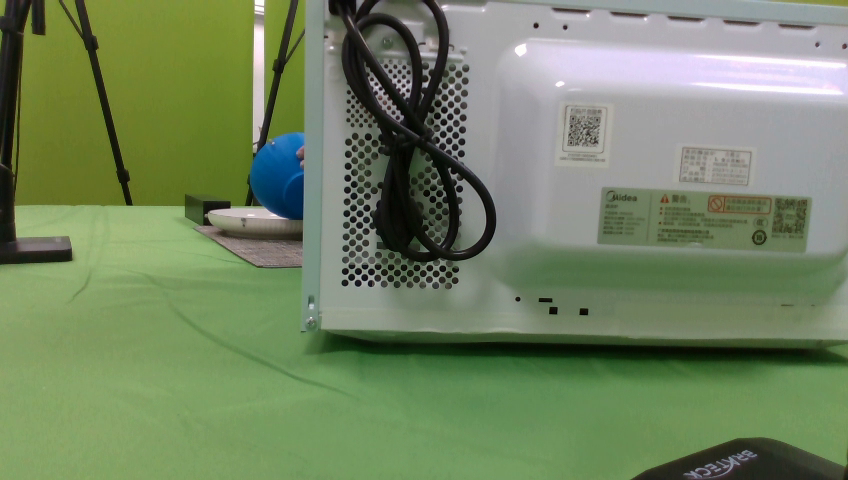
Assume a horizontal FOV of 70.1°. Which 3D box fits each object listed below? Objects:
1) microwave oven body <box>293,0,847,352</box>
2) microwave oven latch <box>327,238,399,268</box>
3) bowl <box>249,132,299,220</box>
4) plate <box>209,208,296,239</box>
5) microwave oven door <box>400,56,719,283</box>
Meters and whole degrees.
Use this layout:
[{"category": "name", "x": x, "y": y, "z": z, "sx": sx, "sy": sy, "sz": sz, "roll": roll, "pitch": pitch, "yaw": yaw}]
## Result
[{"category": "microwave oven body", "x": 0.122, "y": -0.055, "z": 0.550, "sx": 0.442, "sy": 0.260, "sz": 0.325, "roll": 3, "pitch": 7, "yaw": -5}, {"category": "microwave oven latch", "x": -0.069, "y": 0.015, "z": 0.694, "sx": 0.079, "sy": 0.029, "sz": 0.030, "roll": 3, "pitch": 7, "yaw": -3}, {"category": "bowl", "x": -0.199, "y": -0.089, "z": 0.975, "sx": 0.152, "sy": 0.151, "sz": 0.076, "roll": -1, "pitch": 30, "yaw": -28}, {"category": "plate", "x": -0.271, "y": -0.029, "z": 1.074, "sx": 0.208, "sy": 0.039, "sz": 0.207, "roll": 3, "pitch": 7, "yaw": 0}, {"category": "microwave oven door", "x": 0.155, "y": -0.077, "z": 0.698, "sx": 0.356, "sy": 0.243, "sz": 0.039, "roll": 2, "pitch": 8, "yaw": -5}]
